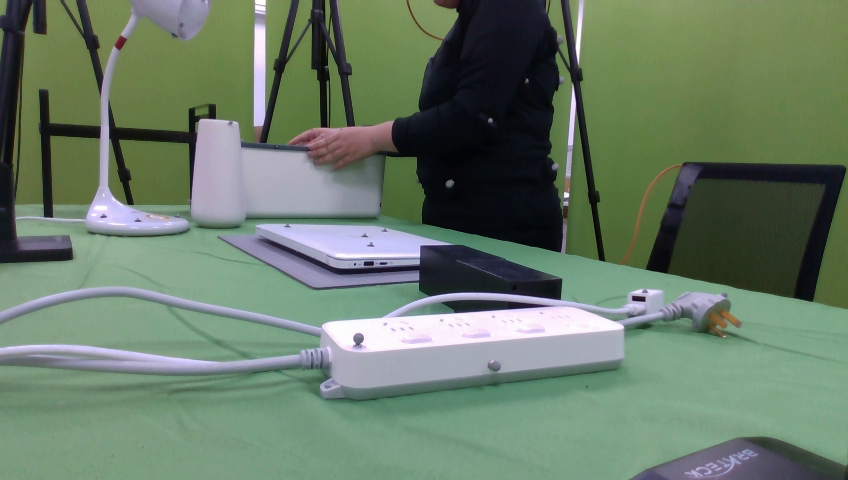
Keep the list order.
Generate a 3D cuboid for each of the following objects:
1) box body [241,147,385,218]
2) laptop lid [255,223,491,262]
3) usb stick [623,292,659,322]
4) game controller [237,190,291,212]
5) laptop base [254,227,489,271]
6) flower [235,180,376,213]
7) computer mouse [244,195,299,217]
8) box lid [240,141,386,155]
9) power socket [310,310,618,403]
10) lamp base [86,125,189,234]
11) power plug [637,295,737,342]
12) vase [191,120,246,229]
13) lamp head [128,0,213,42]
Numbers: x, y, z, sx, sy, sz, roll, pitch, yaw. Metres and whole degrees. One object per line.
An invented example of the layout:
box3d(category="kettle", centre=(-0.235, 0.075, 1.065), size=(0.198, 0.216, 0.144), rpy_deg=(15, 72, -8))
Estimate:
box3d(category="box body", centre=(-0.306, -0.144, 1.474), size=(0.366, 0.160, 0.253), rpy_deg=(-1, 9, -30))
box3d(category="laptop lid", centre=(-0.093, 0.000, 0.911), size=(0.243, 0.013, 0.355), rpy_deg=(1, 7, -30))
box3d(category="usb stick", centre=(0.211, 0.064, 0.581), size=(0.021, 0.027, 0.059), rpy_deg=(0, -3, 36))
box3d(category="game controller", centre=(-0.391, -0.094, 1.465), size=(0.097, 0.051, 0.154), rpy_deg=(-7, 9, -30))
box3d(category="laptop base", centre=(-0.096, 0.012, 0.911), size=(0.237, 0.023, 0.352), rpy_deg=(2, 6, -32))
box3d(category="flower", centre=(-0.264, -0.092, 1.416), size=(0.364, 0.038, 0.044), rpy_deg=(8, -41, -38))
box3d(category="computer mouse", centre=(-0.346, -0.077, 1.372), size=(0.118, 0.041, 0.062), rpy_deg=(-11, 18, -33))
box3d(category="box lid", centre=(-0.304, -0.218, 1.463), size=(0.373, 0.015, 0.262), rpy_deg=(-1, 7, -30))
box3d(category="power socket", centre=(0.033, 0.074, 0.415), size=(0.228, 0.032, 0.072), rpy_deg=(-1, 7, -24))
box3d(category="lamp base", centre=(-0.497, -0.105, 1.027), size=(0.179, 0.180, 0.160), rpy_deg=(1, 7, 2))
box3d(category="power plug", centre=(0.235, 0.078, 0.536), size=(0.072, 0.035, 0.052), rpy_deg=(-34, 40, -4))
box3d(category="vase", centre=(-0.389, -0.123, 1.143), size=(0.098, 0.200, 0.098), rpy_deg=(2, 9, 0))
box3d(category="lamp head", centre=(-0.423, -0.394, 0.980), size=(0.123, 0.112, 0.112), rpy_deg=(20, 7, -3))
